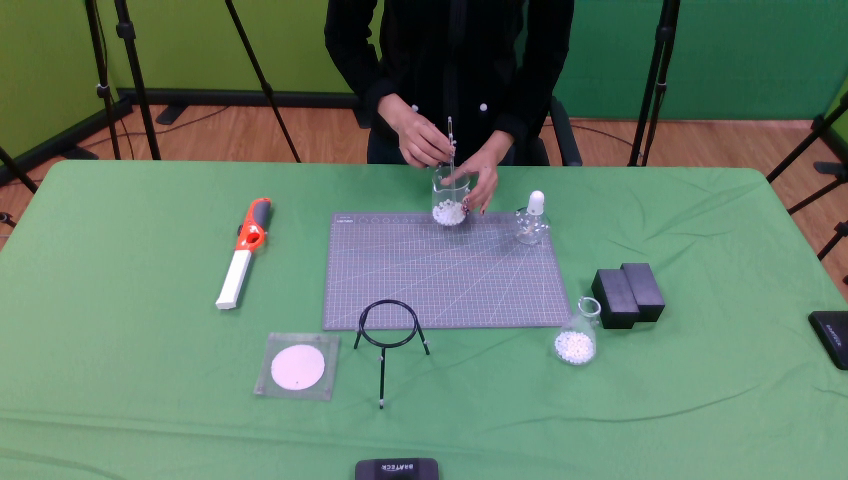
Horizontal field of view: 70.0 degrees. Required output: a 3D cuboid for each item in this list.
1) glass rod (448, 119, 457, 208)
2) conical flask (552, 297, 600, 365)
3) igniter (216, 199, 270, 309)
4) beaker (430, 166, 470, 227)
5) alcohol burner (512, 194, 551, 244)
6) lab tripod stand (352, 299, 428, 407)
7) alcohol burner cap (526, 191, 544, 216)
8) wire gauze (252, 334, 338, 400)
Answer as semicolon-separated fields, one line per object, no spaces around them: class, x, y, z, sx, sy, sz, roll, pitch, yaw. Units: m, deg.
glass rod;0.055;-0.141;1.159;0.008;0.201;0.008;-4;41;3
conical flask;0.261;0.147;1.009;0.075;0.122;0.075;2;46;-2
igniter;-0.342;0.016;1.153;0.057;0.025;0.275;-3;45;7
beaker;0.047;-0.081;1.185;0.073;0.101;0.084;29;50;26
alcohol burner;0.215;-0.048;1.196;0.078;0.119;0.077;4;46;-4
lab tripod stand;-0.056;0.166;0.958;0.148;0.132;0.147;3;44;-2
alcohol burner cap;0.216;-0.073;1.170;0.034;0.048;0.033;-1;42;1
wire gauze;-0.209;0.204;0.996;0.125;0.011;0.120;3;45;1
